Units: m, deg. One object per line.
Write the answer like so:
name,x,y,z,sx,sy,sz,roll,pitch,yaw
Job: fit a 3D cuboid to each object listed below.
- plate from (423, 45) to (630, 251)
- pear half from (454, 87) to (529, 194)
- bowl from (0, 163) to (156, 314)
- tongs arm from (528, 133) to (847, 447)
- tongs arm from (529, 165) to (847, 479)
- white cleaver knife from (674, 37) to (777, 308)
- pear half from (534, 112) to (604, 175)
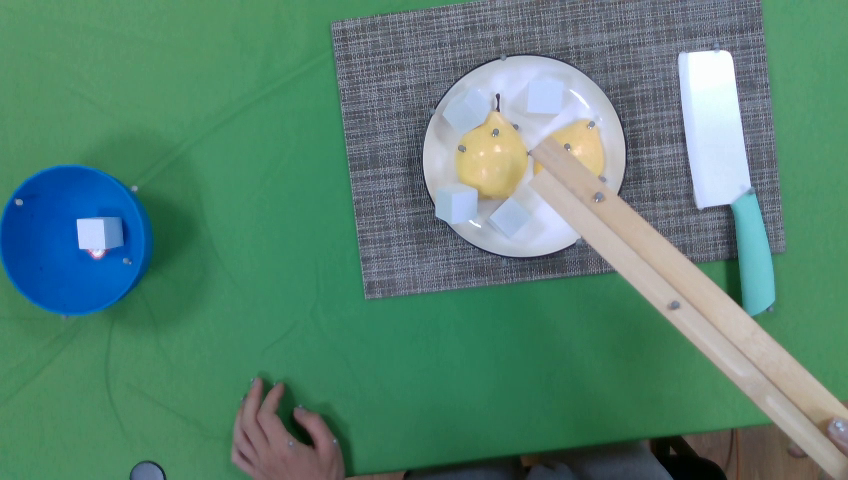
plate,0.104,-0.092,0.627,0.207,0.039,0.207,0,93,3
pear half,0.070,-0.104,0.614,0.076,0.056,0.109,2,89,-1
bowl,-0.344,-0.002,0.634,0.151,0.077,0.151,0,93,2
tongs arm,0.220,0.053,0.452,0.028,0.028,0.385,-41,73,-8
tongs arm,0.227,0.063,0.484,0.026,0.051,0.382,-42,75,-4
white cleaver knife,0.312,-0.070,0.633,0.066,0.021,0.286,-11,89,12
pear half,0.153,-0.090,0.620,0.070,0.031,0.088,24,99,-2
